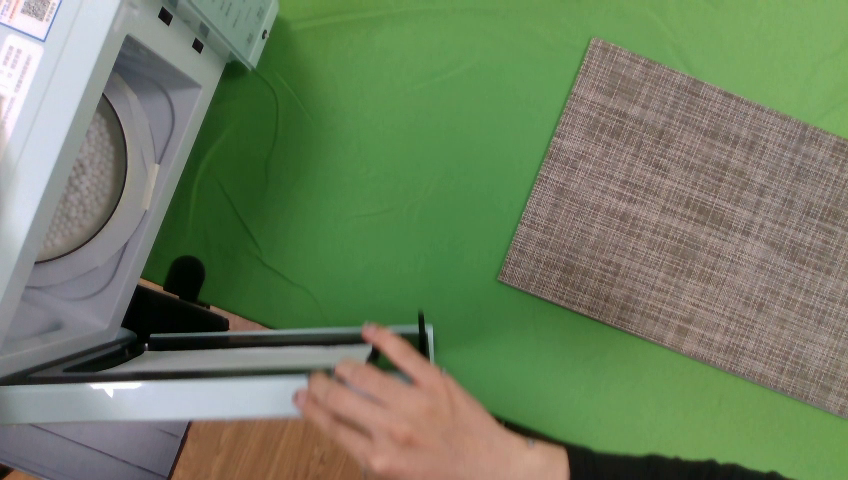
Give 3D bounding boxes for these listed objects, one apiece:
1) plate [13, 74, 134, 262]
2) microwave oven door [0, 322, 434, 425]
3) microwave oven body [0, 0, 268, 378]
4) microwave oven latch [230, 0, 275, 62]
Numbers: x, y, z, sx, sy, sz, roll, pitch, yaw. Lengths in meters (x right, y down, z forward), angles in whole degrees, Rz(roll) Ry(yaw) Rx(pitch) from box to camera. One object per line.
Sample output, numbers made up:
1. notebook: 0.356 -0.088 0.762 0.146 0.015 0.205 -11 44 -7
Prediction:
1. plate: -0.396 -0.083 0.618 0.209 0.038 0.209 0 92 -1
2. microwave oven door: -0.170 0.117 0.568 0.356 0.243 0.039 -1 90 -2
3. microwave oven body: -0.393 -0.130 0.563 0.326 0.260 0.441 22 91 -2
4. microwave oven latch: -0.190 -0.238 0.662 0.030 0.029 0.079 25 91 -2
